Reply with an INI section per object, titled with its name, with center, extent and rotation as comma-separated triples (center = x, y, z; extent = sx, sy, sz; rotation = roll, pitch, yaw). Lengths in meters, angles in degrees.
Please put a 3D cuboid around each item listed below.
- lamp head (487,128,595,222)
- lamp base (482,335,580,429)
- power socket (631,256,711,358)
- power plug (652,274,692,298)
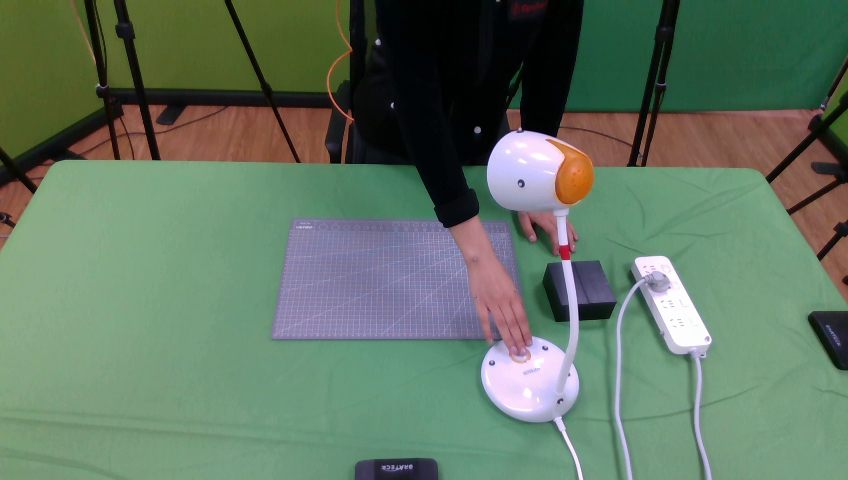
[lamp head]
center = 0.160, -0.084, 0.791
extent = 0.112, 0.113, 0.122
rotation = -24, 28, -25
[lamp base]
center = 0.185, 0.178, 0.927
extent = 0.161, 0.181, 0.178
rotation = -22, 53, -23
[power socket]
center = 0.449, 0.115, 1.112
extent = 0.072, 0.033, 0.225
rotation = -4, 47, -6
[power plug]
center = 0.446, 0.093, 1.102
extent = 0.035, 0.053, 0.072
rotation = -26, 56, -6
